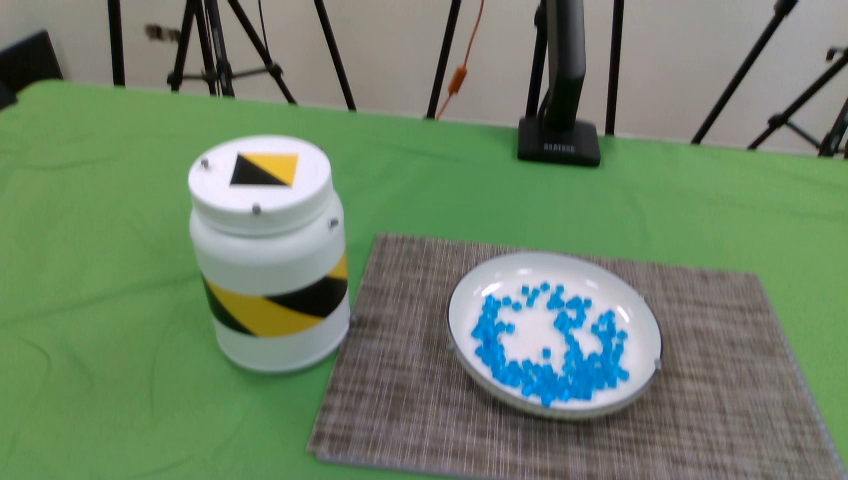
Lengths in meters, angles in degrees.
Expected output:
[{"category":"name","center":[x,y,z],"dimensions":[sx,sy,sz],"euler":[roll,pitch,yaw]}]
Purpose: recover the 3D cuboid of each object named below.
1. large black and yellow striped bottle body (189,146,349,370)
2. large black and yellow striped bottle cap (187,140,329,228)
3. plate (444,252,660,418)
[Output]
[{"category":"large black and yellow striped bottle body","center":[-0.139,0.016,0.561],"dimensions":[0.131,0.185,0.129],"euler":[2,39,-1]},{"category":"large black and yellow striped bottle cap","center":[-0.138,-0.050,0.508],"dimensions":[0.115,0.019,0.114],"euler":[3,38,-2]},{"category":"plate","center":[0.122,0.091,0.598],"dimensions":[0.208,0.039,0.205],"euler":[2,39,-1]}]
